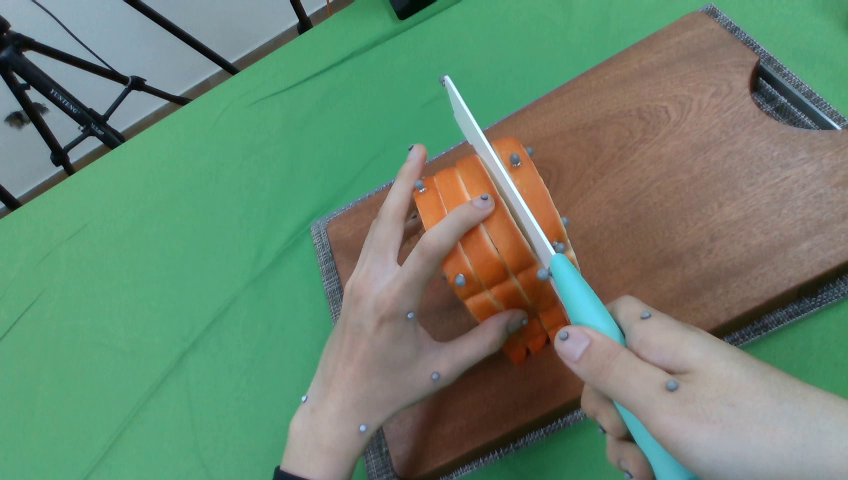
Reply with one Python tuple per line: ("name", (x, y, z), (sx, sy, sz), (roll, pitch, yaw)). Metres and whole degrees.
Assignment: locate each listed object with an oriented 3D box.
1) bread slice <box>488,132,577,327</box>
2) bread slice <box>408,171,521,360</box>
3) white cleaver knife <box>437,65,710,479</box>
("bread slice", (0.077, -0.010, 0.413), (0.019, 0.133, 0.103), (-25, 54, 4))
("bread slice", (0.028, 0.011, 0.423), (0.018, 0.136, 0.106), (-27, 50, 8))
("white cleaver knife", (0.070, 0.007, 0.339), (0.021, 0.066, 0.283), (-26, 62, 3))
